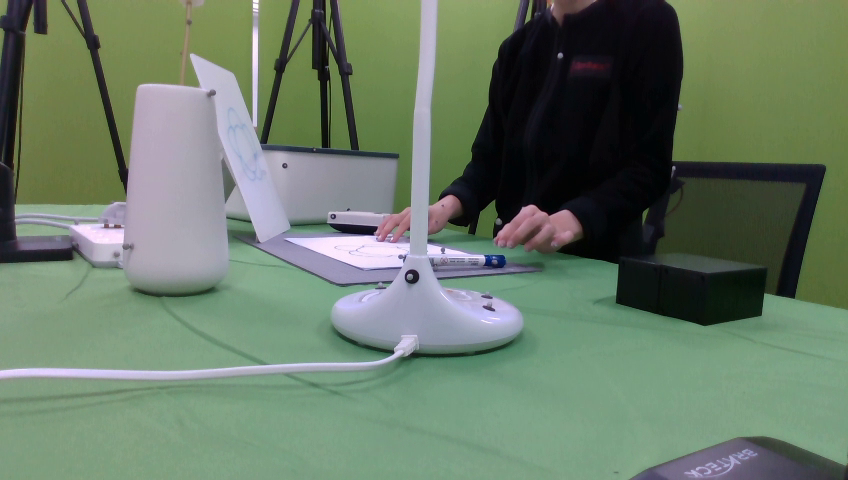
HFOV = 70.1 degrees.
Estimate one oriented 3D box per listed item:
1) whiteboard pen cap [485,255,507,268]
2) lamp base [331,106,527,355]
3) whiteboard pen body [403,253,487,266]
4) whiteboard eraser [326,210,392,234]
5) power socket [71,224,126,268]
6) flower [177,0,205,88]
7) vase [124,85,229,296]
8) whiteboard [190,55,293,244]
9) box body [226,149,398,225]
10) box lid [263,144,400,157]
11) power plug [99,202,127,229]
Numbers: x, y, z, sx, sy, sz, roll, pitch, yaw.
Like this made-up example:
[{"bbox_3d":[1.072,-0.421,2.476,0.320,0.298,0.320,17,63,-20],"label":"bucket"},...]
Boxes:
[{"bbox_3d":[0.093,0.029,0.809,0.033,0.018,0.018,4,6,-24],"label":"whiteboard pen cap"},{"bbox_3d":[0.006,-0.012,0.478,0.161,0.180,0.179,2,10,2],"label":"lamp base"},{"bbox_3d":[0.040,0.026,0.785,0.141,0.017,0.017,2,7,-24],"label":"whiteboard pen body"},{"bbox_3d":[-0.121,-0.033,1.131,0.112,0.042,0.056,4,8,13],"label":"whiteboard eraser"},{"bbox_3d":[-0.409,0.004,0.793,0.072,0.032,0.225,-2,8,-37],"label":"power socket"},{"bbox_3d":[-0.243,-0.131,0.609,0.044,0.361,0.038,-5,-12,12],"label":"flower"},{"bbox_3d":[-0.244,-0.047,0.598,0.098,0.200,0.098,3,8,0],"label":"vase"},{"bbox_3d":[-0.362,-0.129,1.029,0.144,0.305,0.217,-18,7,3],"label":"whiteboard"},{"bbox_3d":[-0.265,-0.129,1.380,0.253,0.160,0.366,8,9,39],"label":"box body"},{"bbox_3d":[-0.263,-0.203,1.369,0.262,0.015,0.373,9,10,39],"label":"box lid"},{"bbox_3d":[-0.415,-0.026,0.848,0.073,0.052,0.035,6,5,-28],"label":"power plug"}]
